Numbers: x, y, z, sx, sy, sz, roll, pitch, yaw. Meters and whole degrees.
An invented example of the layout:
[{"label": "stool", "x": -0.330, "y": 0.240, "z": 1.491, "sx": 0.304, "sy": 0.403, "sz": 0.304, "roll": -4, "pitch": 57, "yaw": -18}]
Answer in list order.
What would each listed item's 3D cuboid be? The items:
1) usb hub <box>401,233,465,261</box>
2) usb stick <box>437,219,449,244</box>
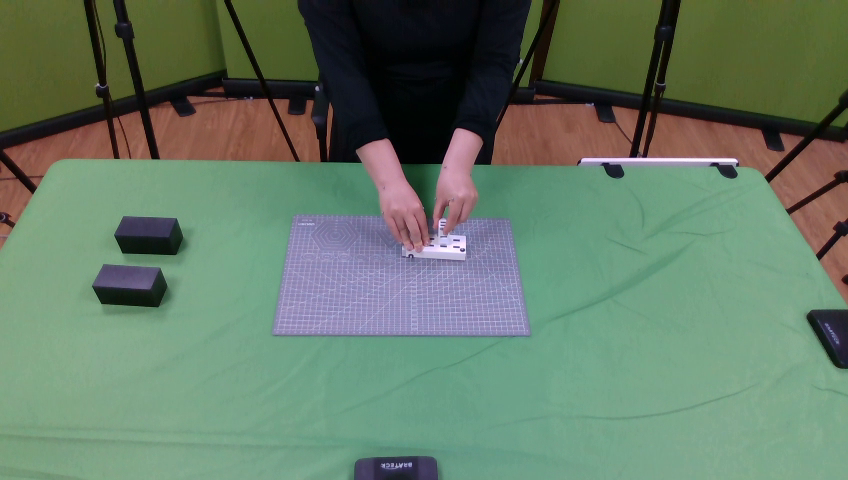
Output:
[{"label": "usb hub", "x": 0.019, "y": 0.013, "z": 1.180, "sx": 0.125, "sy": 0.025, "sz": 0.049, "roll": 4, "pitch": 46, "yaw": 0}, {"label": "usb stick", "x": 0.036, "y": -0.012, "z": 1.160, "sx": 0.021, "sy": 0.059, "sz": 0.027, "roll": -1, "pitch": 48, "yaw": 0}]
